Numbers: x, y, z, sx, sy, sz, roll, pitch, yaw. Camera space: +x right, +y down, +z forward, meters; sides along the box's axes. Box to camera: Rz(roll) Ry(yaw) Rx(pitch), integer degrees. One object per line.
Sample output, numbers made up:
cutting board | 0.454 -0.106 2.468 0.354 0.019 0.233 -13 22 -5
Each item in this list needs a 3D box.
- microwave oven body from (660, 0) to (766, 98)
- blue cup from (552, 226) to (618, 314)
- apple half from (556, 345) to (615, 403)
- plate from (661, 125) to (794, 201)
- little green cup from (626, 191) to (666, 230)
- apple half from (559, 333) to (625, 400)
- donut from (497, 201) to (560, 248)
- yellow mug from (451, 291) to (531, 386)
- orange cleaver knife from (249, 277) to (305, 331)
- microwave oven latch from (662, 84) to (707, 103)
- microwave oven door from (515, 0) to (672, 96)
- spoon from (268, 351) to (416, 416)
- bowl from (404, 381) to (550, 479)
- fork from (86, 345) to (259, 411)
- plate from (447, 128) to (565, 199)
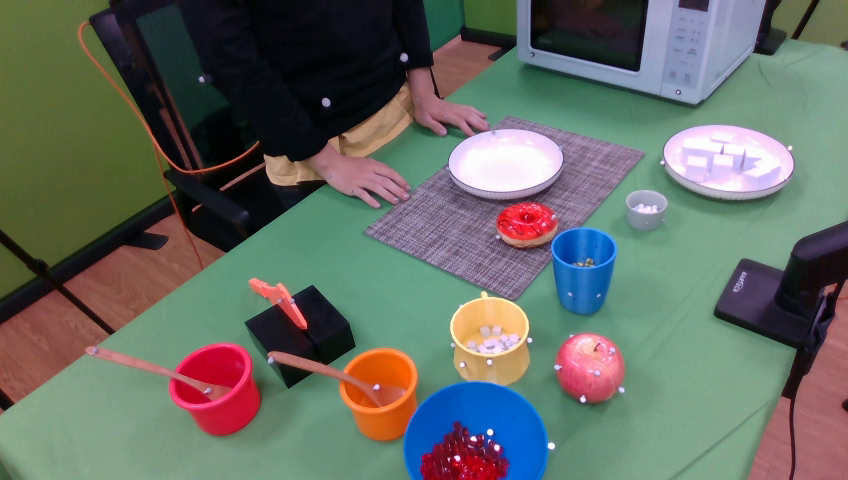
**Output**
microwave oven body | 0.472 -0.513 1.317 0.438 0.261 0.327 26 51 34
blue cup | 0.218 0.047 0.826 0.092 0.101 0.092 -6 40 5
apple half | 0.181 0.167 0.709 0.080 0.081 0.033 29 49 35
plate | 0.513 -0.128 1.035 0.207 0.039 0.206 -4 40 4
little green cup | 0.352 -0.046 0.963 0.061 0.039 0.061 -4 40 4
apple half | 0.209 0.147 0.730 0.080 0.075 0.053 26 48 38
donut | 0.165 -0.026 0.958 0.099 0.048 0.098 -5 38 5
yellow mug | 0.085 0.120 0.786 0.100 0.064 0.130 -7 39 1
orange cleaver knife | -0.210 0.088 0.855 0.012 0.077 0.210 -28 15 -25
microwave oven latch | 0.517 -0.296 1.204 0.078 0.029 0.030 27 52 35
microwave oven door | 0.343 -0.454 1.259 0.353 0.245 0.039 26 51 33
spoon | -0.090 0.162 0.699 0.021 0.195 0.041 -44 31 27
bowl | 0.058 0.235 0.645 0.151 0.077 0.150 -4 39 4
fork | -0.298 0.166 0.728 0.209 0.018 0.028 28 48 -23
plate | 0.147 -0.134 1.092 0.209 0.038 0.208 -4 40 4
